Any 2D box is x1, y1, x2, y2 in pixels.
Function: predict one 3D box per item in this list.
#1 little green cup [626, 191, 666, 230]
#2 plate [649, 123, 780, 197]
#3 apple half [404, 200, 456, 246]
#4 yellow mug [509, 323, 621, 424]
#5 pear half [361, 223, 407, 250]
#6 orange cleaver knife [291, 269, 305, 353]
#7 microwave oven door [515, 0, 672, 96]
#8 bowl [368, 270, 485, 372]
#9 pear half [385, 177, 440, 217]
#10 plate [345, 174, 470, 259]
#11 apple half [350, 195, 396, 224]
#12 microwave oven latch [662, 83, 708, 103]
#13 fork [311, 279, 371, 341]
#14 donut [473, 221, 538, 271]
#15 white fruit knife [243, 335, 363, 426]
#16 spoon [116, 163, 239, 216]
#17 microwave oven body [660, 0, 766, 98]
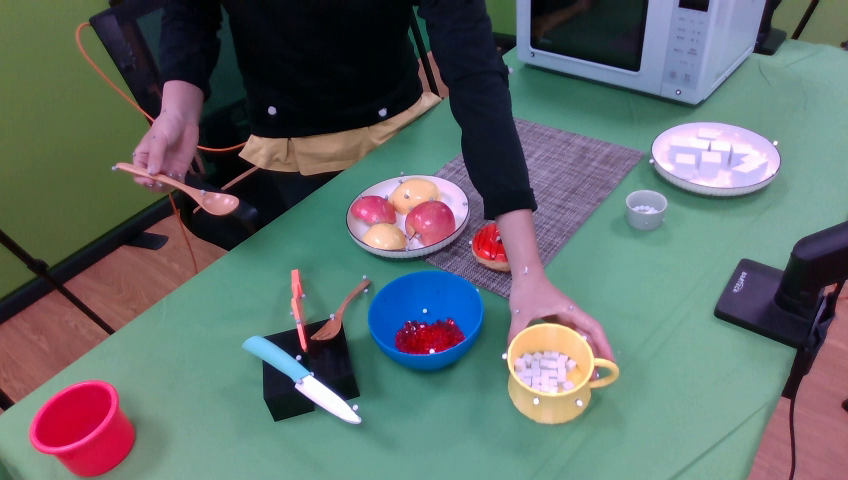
[{"bbox_3d":[0.352,-0.046,0.963,0.061,0.039,0.061,-4,40,4],"label":"little green cup"},{"bbox_3d":[0.497,-0.134,1.046,0.207,0.039,0.206,-4,40,4],"label":"plate"},{"bbox_3d":[0.010,-0.035,0.969,0.075,0.053,0.080,-27,40,-22],"label":"apple half"},{"bbox_3d":[0.167,0.158,0.720,0.131,0.064,0.099,-1,46,6],"label":"yellow mug"},{"bbox_3d":[-0.063,-0.012,0.958,0.071,0.031,0.087,2,24,-25],"label":"pear half"},{"bbox_3d":[-0.175,0.094,0.844,0.012,0.077,0.210,-11,14,-10],"label":"orange cleaver knife"},{"bbox_3d":[0.343,-0.455,1.259,0.353,0.245,0.039,26,51,33],"label":"microwave oven door"},{"bbox_3d":[0.007,0.118,0.791,0.151,0.077,0.150,-5,40,4],"label":"bowl"},{"bbox_3d":[-0.030,-0.079,1.033,0.109,0.056,0.076,0,36,15],"label":"pear half"},{"bbox_3d":[-0.026,-0.036,1.004,0.209,0.038,0.208,-4,40,4],"label":"plate"},{"bbox_3d":[-0.080,-0.056,1.008,0.081,0.033,0.081,10,24,-4],"label":"apple half"},{"bbox_3d":[0.518,-0.296,1.204,0.078,0.029,0.030,28,52,35],"label":"microwave oven latch"},{"bbox_3d":[-0.108,0.092,0.832,0.028,0.019,0.207,-7,19,15],"label":"fork"},{"bbox_3d":[0.123,0.009,0.923,0.099,0.048,0.098,-3,38,3],"label":"donut"},{"bbox_3d":[-0.148,0.167,0.730,0.206,0.016,0.027,26,79,31],"label":"white fruit knife"},{"bbox_3d":[-0.357,-0.077,0.873,0.193,0.021,0.041,23,55,3],"label":"spoon"},{"bbox_3d":[0.472,-0.513,1.317,0.438,0.261,0.327,26,51,34],"label":"microwave oven body"}]
